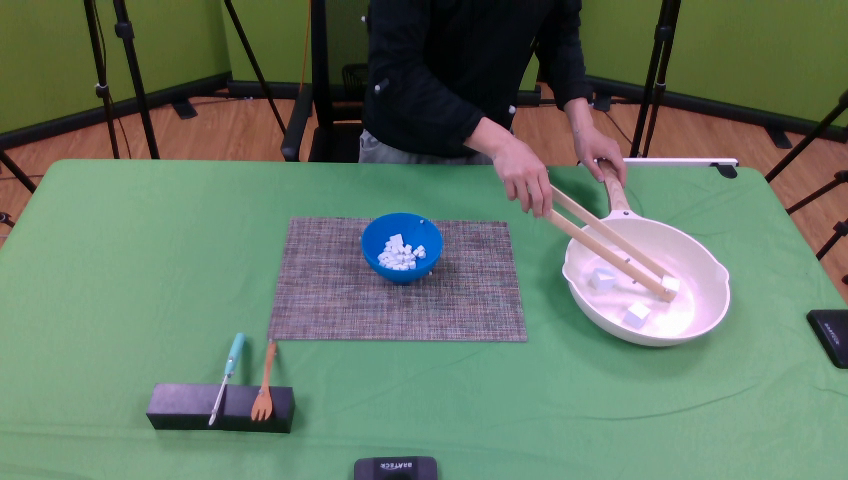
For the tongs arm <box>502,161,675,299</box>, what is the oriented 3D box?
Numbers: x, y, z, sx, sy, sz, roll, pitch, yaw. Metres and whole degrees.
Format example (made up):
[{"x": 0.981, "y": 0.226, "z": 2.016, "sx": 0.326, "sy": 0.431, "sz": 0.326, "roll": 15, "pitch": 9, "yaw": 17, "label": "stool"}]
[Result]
[{"x": 0.300, "y": -0.014, "z": 1.096, "sx": 0.385, "sy": 0.026, "sz": 0.050, "roll": 33, "pitch": 52, "yaw": -9, "label": "tongs arm"}]

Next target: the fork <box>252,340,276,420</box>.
[{"x": -0.242, "y": 0.211, "z": 0.932, "sx": 0.028, "sy": 0.019, "sz": 0.206, "roll": -5, "pitch": 26, "yaw": -7, "label": "fork"}]

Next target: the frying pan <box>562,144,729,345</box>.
[{"x": 0.396, "y": -0.008, "z": 1.179, "sx": 0.307, "sy": 0.103, "sz": 0.484, "roll": 1, "pitch": 55, "yaw": -4, "label": "frying pan"}]

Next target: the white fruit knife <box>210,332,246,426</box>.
[{"x": -0.301, "y": 0.206, "z": 0.930, "sx": 0.016, "sy": 0.027, "sz": 0.206, "roll": 5, "pitch": 29, "yaw": -7, "label": "white fruit knife"}]

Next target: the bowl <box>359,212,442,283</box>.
[{"x": -0.045, "y": 0.027, "z": 1.125, "sx": 0.151, "sy": 0.077, "sz": 0.150, "roll": 2, "pitch": 46, "yaw": -2, "label": "bowl"}]

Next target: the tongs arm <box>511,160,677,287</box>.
[{"x": 0.310, "y": -0.029, "z": 1.111, "sx": 0.388, "sy": 0.028, "sz": 0.028, "roll": 36, "pitch": 55, "yaw": -7, "label": "tongs arm"}]
